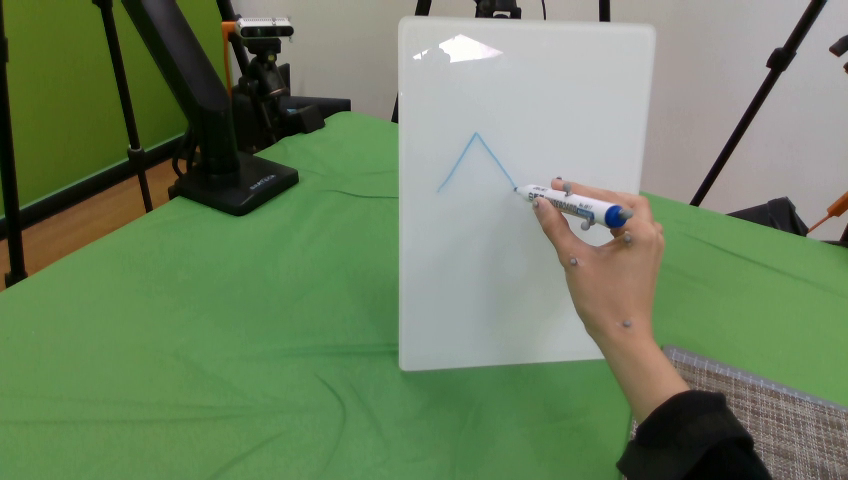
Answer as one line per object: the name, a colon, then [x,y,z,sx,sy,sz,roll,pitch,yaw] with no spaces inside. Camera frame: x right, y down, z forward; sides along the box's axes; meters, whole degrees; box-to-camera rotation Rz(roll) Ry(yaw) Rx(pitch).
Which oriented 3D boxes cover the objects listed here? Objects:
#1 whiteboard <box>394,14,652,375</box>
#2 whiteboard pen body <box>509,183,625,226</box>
whiteboard: [0.073,-0.047,0.586,0.218,0.306,0.143,-2,16,-9]
whiteboard pen body: [0.099,-0.030,0.450,0.017,0.017,0.139,-10,15,-20]
